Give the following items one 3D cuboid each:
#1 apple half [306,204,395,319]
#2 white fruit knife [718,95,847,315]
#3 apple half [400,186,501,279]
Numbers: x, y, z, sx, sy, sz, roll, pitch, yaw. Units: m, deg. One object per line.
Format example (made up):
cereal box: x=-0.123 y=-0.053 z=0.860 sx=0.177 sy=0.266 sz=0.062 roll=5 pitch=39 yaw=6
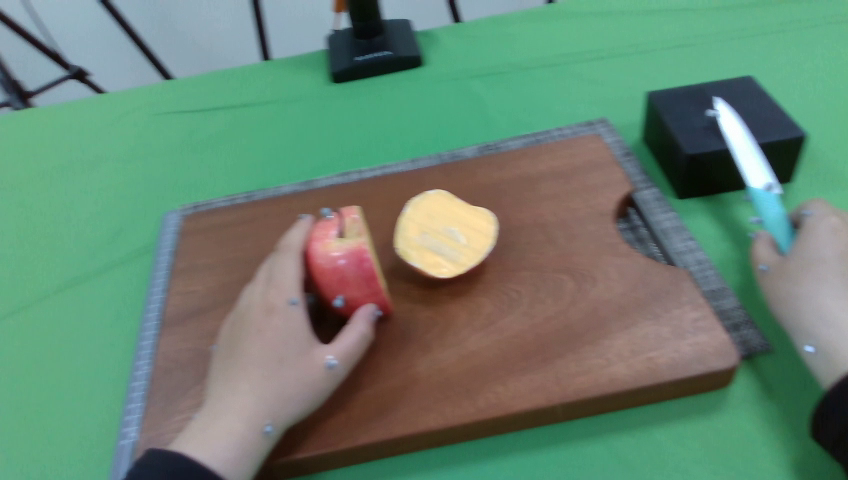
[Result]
apple half: x=-0.056 y=0.021 z=0.441 sx=0.053 sy=0.075 sz=0.080 roll=-19 pitch=47 yaw=-2
white fruit knife: x=0.271 y=-0.036 z=0.476 sx=0.027 sy=0.016 sz=0.205 roll=-9 pitch=61 yaw=1
apple half: x=0.019 y=0.000 z=0.476 sx=0.081 sy=0.033 sz=0.080 roll=-2 pitch=61 yaw=4
